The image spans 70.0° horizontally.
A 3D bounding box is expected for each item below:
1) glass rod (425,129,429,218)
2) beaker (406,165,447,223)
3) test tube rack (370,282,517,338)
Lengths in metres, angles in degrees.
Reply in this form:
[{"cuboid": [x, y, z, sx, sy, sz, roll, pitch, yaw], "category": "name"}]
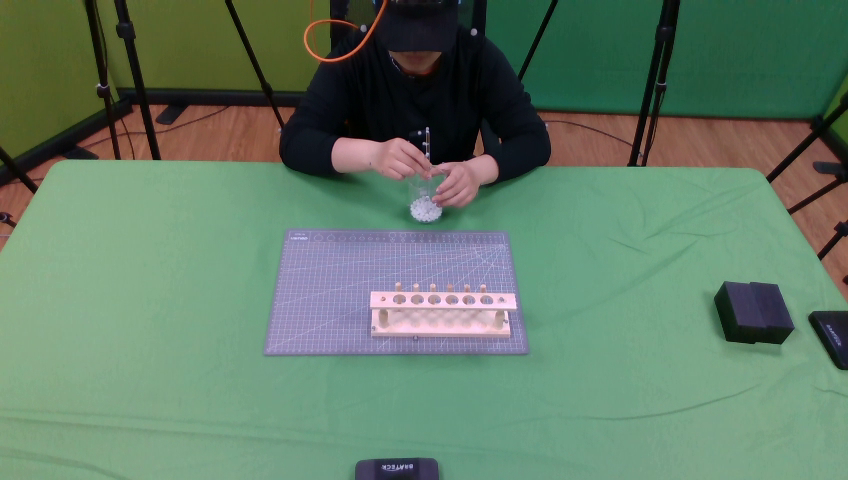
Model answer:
[{"cuboid": [0.005, -0.124, 1.180, 0.008, 0.200, 0.008, 0, 38, 0], "category": "glass rod"}, {"cuboid": [0.006, -0.090, 1.222, 0.084, 0.101, 0.073, -15, 49, -14], "category": "beaker"}, {"cuboid": [0.030, 0.116, 1.041, 0.242, 0.085, 0.066, 1, 46, -3], "category": "test tube rack"}]
